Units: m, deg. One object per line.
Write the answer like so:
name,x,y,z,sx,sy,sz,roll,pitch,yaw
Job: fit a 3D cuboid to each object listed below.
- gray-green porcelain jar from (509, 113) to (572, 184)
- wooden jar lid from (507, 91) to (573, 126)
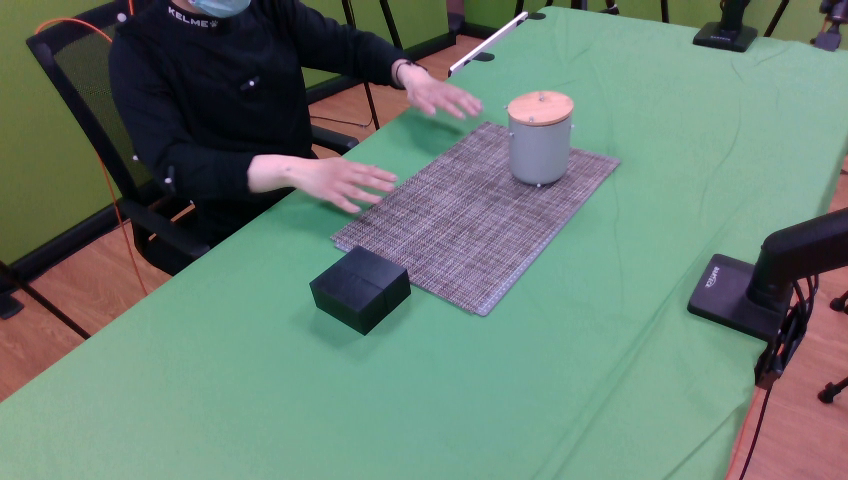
gray-green porcelain jar,0.200,-0.169,1.051,0.106,0.127,0.105,-4,41,4
wooden jar lid,0.194,-0.216,1.011,0.108,0.021,0.108,-6,40,6
